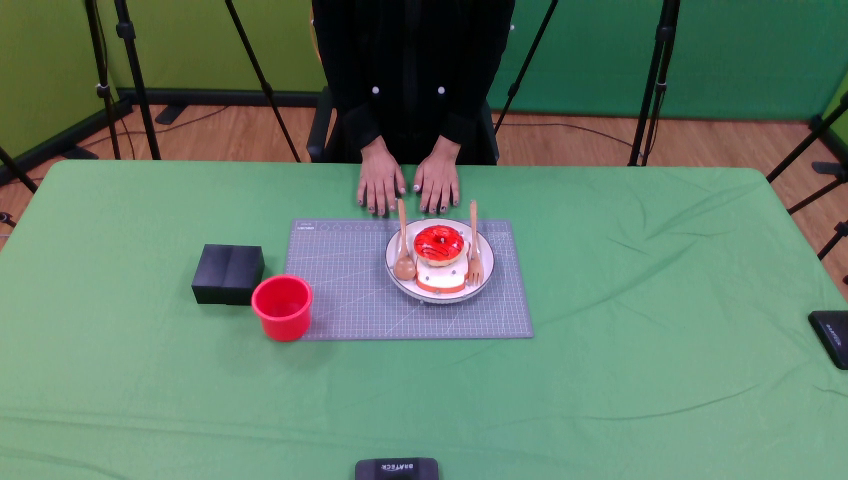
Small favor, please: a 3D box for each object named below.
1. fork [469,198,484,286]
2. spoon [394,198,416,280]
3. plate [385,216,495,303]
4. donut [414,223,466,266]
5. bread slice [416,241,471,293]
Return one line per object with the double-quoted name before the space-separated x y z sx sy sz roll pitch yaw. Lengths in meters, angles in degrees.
"fork" 0.099 0.000 1.172 0.028 0.019 0.206 -6 57 11
"spoon" -0.039 -0.006 1.166 0.042 0.022 0.192 2 59 -8
"plate" 0.030 0.040 1.145 0.209 0.038 0.208 2 46 -2
"donut" 0.030 0.007 1.140 0.099 0.048 0.098 0 42 0
"bread slice" 0.036 0.046 1.144 0.105 0.019 0.131 3 45 2
